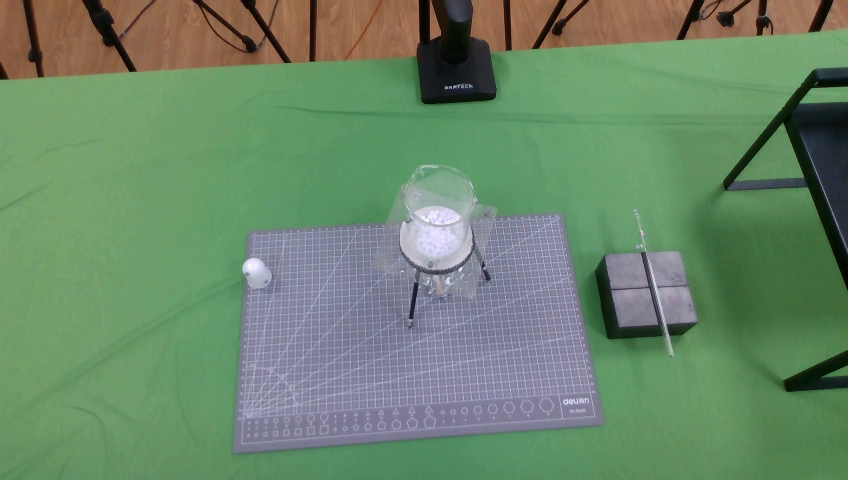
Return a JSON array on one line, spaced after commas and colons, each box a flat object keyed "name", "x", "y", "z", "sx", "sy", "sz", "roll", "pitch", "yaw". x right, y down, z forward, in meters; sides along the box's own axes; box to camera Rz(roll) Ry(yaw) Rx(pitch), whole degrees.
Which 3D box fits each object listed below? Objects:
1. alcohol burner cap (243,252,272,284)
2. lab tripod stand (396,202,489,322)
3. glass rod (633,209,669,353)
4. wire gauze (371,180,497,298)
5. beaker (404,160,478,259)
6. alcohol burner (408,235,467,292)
[{"name": "alcohol burner cap", "x": -0.223, "y": 0.035, "z": 0.804, "sx": 0.034, "sy": 0.048, "sz": 0.033, "roll": 0, "pitch": 64, "yaw": 1}, {"name": "lab tripod stand", "x": 0.017, "y": 0.021, "z": 0.765, "sx": 0.148, "sy": 0.132, "sz": 0.147, "roll": 1, "pitch": 63, "yaw": -1}, {"name": "glass rod", "x": 0.290, "y": 0.048, "z": 0.776, "sx": 0.008, "sy": 0.008, "sz": 0.198, "roll": -2, "pitch": 65, "yaw": -2}, {"name": "wire gauze", "x": 0.014, "y": -0.006, "z": 0.705, "sx": 0.125, "sy": 0.011, "sz": 0.121, "roll": 18, "pitch": 67, "yaw": 4}, {"name": "beaker", "x": 0.014, "y": -0.031, "z": 0.663, "sx": 0.074, "sy": 0.101, "sz": 0.083, "roll": -25, "pitch": 67, "yaw": -14}, {"name": "alcohol burner", "x": 0.019, "y": 0.022, "z": 0.775, "sx": 0.078, "sy": 0.120, "sz": 0.077, "roll": 1, "pitch": 65, "yaw": -2}]
